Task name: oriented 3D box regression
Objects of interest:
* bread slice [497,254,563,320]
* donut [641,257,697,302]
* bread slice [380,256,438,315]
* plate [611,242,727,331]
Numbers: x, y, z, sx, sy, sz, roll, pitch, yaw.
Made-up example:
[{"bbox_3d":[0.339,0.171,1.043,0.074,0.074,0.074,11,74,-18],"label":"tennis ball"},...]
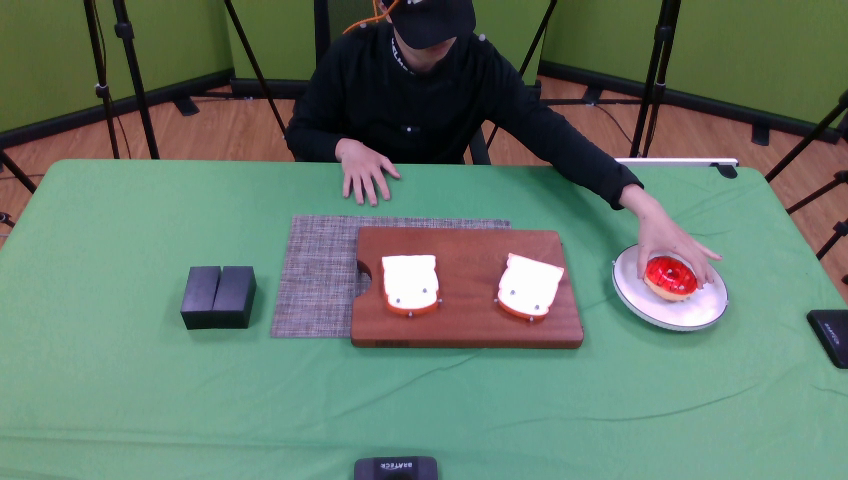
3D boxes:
[{"bbox_3d":[0.189,0.087,1.095,0.107,0.018,0.134,15,46,10],"label":"bread slice"},{"bbox_3d":[0.454,0.073,1.125,0.099,0.048,0.098,6,42,-5],"label":"donut"},{"bbox_3d":[-0.024,0.079,1.087,0.105,0.019,0.130,-3,45,-5],"label":"bread slice"},{"bbox_3d":[0.455,0.090,1.138,0.209,0.038,0.208,2,46,-2],"label":"plate"}]
